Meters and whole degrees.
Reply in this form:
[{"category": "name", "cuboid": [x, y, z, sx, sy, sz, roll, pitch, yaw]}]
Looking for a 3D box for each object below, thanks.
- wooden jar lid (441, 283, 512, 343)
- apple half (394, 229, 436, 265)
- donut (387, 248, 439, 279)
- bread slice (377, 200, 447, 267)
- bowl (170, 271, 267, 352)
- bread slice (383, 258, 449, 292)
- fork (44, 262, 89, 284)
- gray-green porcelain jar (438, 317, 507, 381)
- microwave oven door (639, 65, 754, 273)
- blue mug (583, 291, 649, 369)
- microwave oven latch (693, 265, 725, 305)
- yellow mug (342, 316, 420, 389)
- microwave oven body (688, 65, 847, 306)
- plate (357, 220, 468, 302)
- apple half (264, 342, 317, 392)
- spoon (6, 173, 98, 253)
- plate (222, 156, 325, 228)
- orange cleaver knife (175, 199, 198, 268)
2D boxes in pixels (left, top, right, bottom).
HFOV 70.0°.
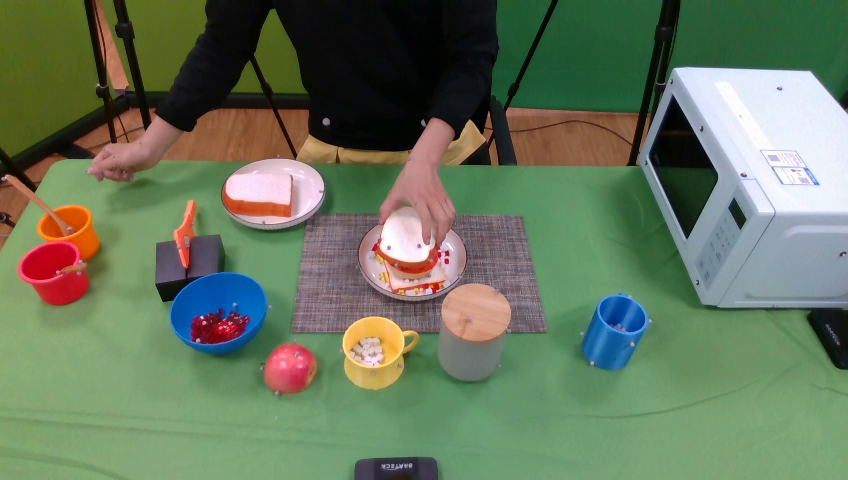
[{"category": "wooden jar lid", "cuboid": [0.080, 0.114, 0.931, 0.108, 0.021, 0.107, 1, 49, -1]}, {"category": "apple half", "cuboid": [-0.017, 0.005, 1.084, 0.081, 0.033, 0.081, 5, 49, -6]}, {"category": "donut", "cuboid": [-0.021, 0.028, 1.110, 0.099, 0.048, 0.098, 2, 46, -2]}, {"category": "bread slice", "cuboid": [-0.023, -0.011, 1.055, 0.105, 0.019, 0.131, 14, 52, 4]}, {"category": "bowl", "cuboid": [-0.333, 0.132, 1.006, 0.151, 0.077, 0.150, 2, 46, -2]}, {"category": "bread slice", "cuboid": [-0.027, 0.039, 1.140, 0.107, 0.018, 0.133, -12, 47, -15]}, {"category": "fork", "cuboid": [-0.598, 0.054, 1.014, 0.207, 0.019, 0.028, -15, 29, 45]}, {"category": "gray-green porcelain jar", "cuboid": [0.076, 0.158, 0.977, 0.106, 0.127, 0.105, 2, 46, -2]}, {"category": "microwave oven door", "cuboid": [0.522, -0.147, 1.193, 0.039, 0.245, 0.353, 0, 47, -3]}, {"category": "blue mug", "cuboid": [0.324, 0.142, 1.023, 0.082, 0.106, 0.116, 15, 47, 11]}, {"category": "microwave oven latch", "cuboid": [0.523, 0.081, 1.115, 0.030, 0.029, 0.078, 2, 46, -1]}, {"category": "yellow mug", "cuboid": [-0.067, 0.178, 0.990, 0.131, 0.064, 0.099, -16, 50, -19]}, {"category": "microwave oven body", "cuboid": [0.669, -0.111, 1.176, 0.326, 0.261, 0.439, 0, 46, -3]}, {"category": "plate", "cuboid": [-0.022, 0.037, 1.141, 0.208, 0.039, 0.206, 2, 46, -2]}, {"category": "apple half", "cuboid": [-0.214, 0.198, 0.970, 0.074, 0.053, 0.080, 19, 48, 11]}, {"category": "spoon", "cuboid": [-0.678, -0.050, 1.106, 0.021, 0.194, 0.041, -19, 27, 43]}, {"category": "plate", "cuboid": [-0.308, -0.095, 1.251, 0.209, 0.038, 0.208, 3, 46, -3]}, {"category": "orange cleaver knife", "cuboid": [-0.438, -0.017, 1.138, 0.012, 0.077, 0.210, -14, 27, -7]}]
